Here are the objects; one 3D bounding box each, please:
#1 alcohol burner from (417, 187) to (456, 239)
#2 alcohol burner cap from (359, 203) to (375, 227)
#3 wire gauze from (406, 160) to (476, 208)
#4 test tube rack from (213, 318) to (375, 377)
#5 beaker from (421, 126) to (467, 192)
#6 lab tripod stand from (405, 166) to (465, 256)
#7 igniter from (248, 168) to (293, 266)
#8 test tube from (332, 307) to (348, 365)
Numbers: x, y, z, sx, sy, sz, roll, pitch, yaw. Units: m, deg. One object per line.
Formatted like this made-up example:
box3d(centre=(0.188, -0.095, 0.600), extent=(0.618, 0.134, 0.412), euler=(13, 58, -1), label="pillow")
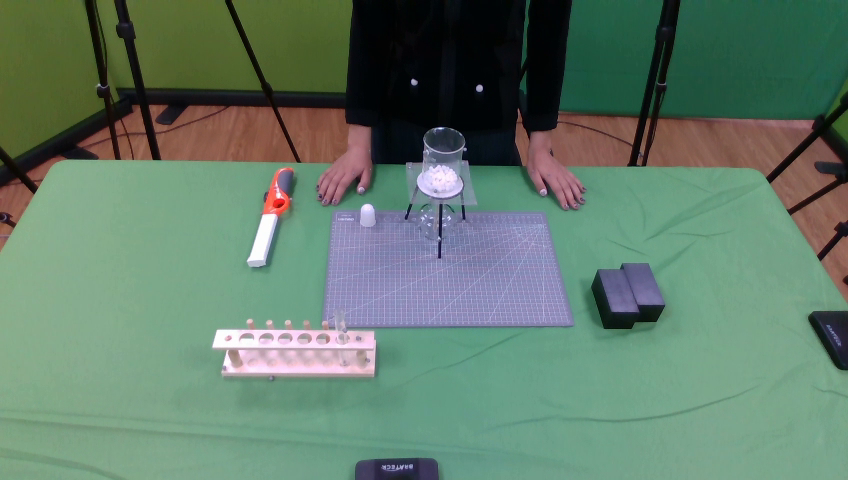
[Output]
box3d(centre=(0.025, -0.059, 1.189), extent=(0.078, 0.120, 0.077), euler=(1, 48, -1), label="alcohol burner")
box3d(centre=(-0.115, -0.053, 1.224), extent=(0.034, 0.048, 0.033), euler=(3, 47, -3), label="alcohol burner cap")
box3d(centre=(0.030, -0.107, 1.130), extent=(0.125, 0.011, 0.120), euler=(1, 48, -7), label="wire gauze")
box3d(centre=(-0.202, 0.169, 0.977), extent=(0.242, 0.085, 0.066), euler=(1, 46, -3), label="test tube rack")
box3d(centre=(0.031, -0.146, 1.100), extent=(0.074, 0.101, 0.083), euler=(-16, 50, -20), label="beaker")
box3d(centre=(0.030, -0.063, 1.180), extent=(0.148, 0.132, 0.147), euler=(3, 47, -3), label="lab tripod stand")
box3d(centre=(-0.307, -0.055, 1.225), extent=(0.057, 0.025, 0.275), euler=(-3, 46, 6), label="igniter")
box3d(centre=(-0.128, 0.151, 0.931), extent=(0.017, 0.151, 0.017), euler=(1, 50, -2), label="test tube")
